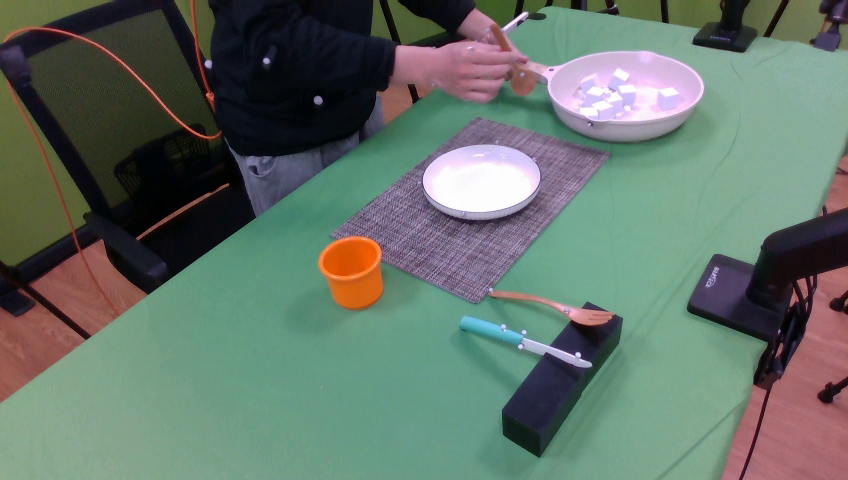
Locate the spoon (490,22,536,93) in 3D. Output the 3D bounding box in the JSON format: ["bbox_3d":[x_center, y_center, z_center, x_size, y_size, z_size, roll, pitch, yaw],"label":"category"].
[{"bbox_3d":[0.138,-0.278,0.931,0.041,0.195,0.021,-27,70,15],"label":"spoon"}]

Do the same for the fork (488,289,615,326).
[{"bbox_3d":[0.161,0.086,0.800,0.205,0.019,0.028,12,48,48],"label":"fork"}]

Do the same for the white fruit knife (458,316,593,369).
[{"bbox_3d":[0.120,0.127,0.757,0.205,0.027,0.016,12,44,43],"label":"white fruit knife"}]

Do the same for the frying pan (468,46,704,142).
[{"bbox_3d":[0.307,-0.326,1.239,0.485,0.103,0.307,26,49,21],"label":"frying pan"}]

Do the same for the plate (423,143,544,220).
[{"bbox_3d":[0.102,-0.097,1.048,0.207,0.039,0.206,-4,40,4],"label":"plate"}]
